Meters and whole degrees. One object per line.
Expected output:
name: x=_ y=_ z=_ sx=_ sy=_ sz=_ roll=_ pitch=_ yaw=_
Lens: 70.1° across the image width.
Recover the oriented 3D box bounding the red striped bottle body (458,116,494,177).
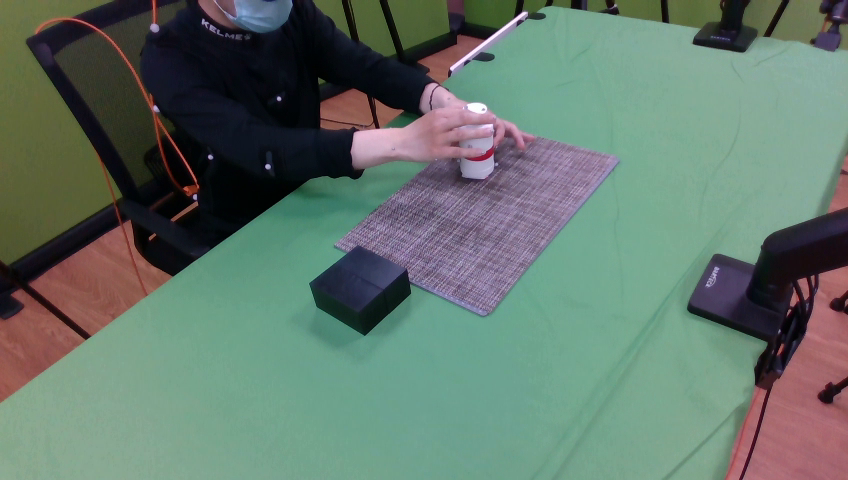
red striped bottle body: x=0.093 y=-0.176 z=1.072 sx=0.063 sy=0.120 sz=0.062 roll=-3 pitch=42 yaw=3

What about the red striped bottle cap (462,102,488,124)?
red striped bottle cap: x=0.087 y=-0.218 z=1.034 sx=0.044 sy=0.018 sz=0.044 roll=-5 pitch=42 yaw=5
